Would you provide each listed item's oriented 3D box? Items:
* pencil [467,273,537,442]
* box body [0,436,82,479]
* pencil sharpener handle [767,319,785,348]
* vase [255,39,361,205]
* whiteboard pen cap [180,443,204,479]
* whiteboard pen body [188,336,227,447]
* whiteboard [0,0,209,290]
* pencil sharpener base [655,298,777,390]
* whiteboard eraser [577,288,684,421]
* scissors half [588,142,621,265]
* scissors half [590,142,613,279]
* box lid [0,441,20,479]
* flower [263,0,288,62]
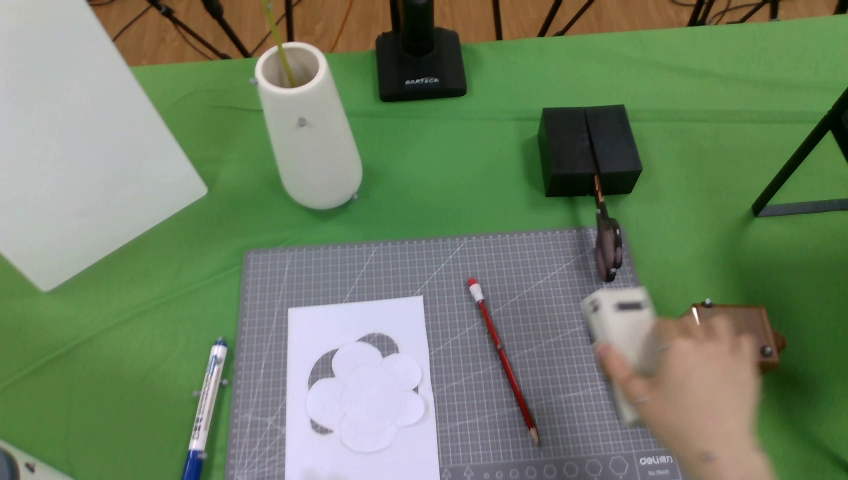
[{"bbox_3d":[0.082,0.119,0.643,0.012,0.012,0.192,-16,64,-8],"label":"pencil"},{"bbox_3d":[-0.509,0.243,0.497,0.363,0.161,0.253,20,64,11],"label":"box body"},{"bbox_3d":[0.333,0.100,0.586,0.031,0.068,0.035,0,55,-2],"label":"pencil sharpener handle"},{"bbox_3d":[-0.127,-0.124,0.673,0.098,0.201,0.097,-1,60,2],"label":"vase"},{"bbox_3d":[-0.224,0.215,0.589,0.018,0.018,0.033,1,57,2],"label":"whiteboard pen cap"},{"bbox_3d":[-0.223,0.165,0.618,0.017,0.017,0.139,2,60,2],"label":"whiteboard pen body"},{"bbox_3d":[-0.423,-0.139,0.658,0.217,0.309,0.142,-35,47,-17],"label":"whiteboard"},{"bbox_3d":[0.282,0.104,0.595,0.077,0.108,0.061,1,60,-3],"label":"pencil sharpener base"},{"bbox_3d":[0.172,0.096,0.517,0.056,0.042,0.111,-2,60,-18],"label":"whiteboard eraser"},{"bbox_3d":[0.201,-0.048,0.683,0.013,0.040,0.173,2,52,-3],"label":"scissors half"},{"bbox_3d":[0.201,-0.038,0.701,0.013,0.040,0.174,0,70,1],"label":"scissors half"},{"bbox_3d":[-0.512,0.206,0.432,0.370,0.015,0.262,20,63,11],"label":"box lid"},{"bbox_3d":[-0.137,-0.176,0.606,0.044,0.365,0.038,-11,44,-1],"label":"flower"}]
